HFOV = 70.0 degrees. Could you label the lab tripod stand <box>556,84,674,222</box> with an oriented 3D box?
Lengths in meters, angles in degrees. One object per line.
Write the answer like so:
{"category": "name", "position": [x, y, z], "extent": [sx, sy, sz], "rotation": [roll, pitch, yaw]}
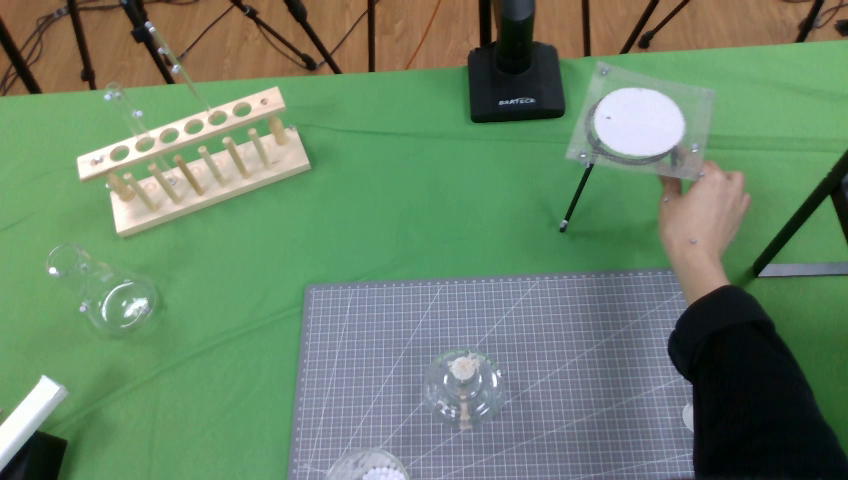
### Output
{"category": "lab tripod stand", "position": [0.209, -0.090, 0.651], "extent": [0.148, 0.132, 0.147], "rotation": [-1, 61, 3]}

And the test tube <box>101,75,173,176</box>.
{"category": "test tube", "position": [-0.322, -0.124, 0.688], "extent": [0.017, 0.151, 0.017], "rotation": [-2, 56, 3]}

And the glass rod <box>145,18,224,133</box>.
{"category": "glass rod", "position": [-0.257, -0.164, 0.683], "extent": [0.008, 0.202, 0.008], "rotation": [-6, 56, 9]}

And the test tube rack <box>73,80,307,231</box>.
{"category": "test tube rack", "position": [-0.274, -0.100, 0.727], "extent": [0.242, 0.086, 0.066], "rotation": [-22, 62, -6]}

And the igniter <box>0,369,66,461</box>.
{"category": "igniter", "position": [-0.437, 0.240, 0.545], "extent": [0.057, 0.025, 0.275], "rotation": [23, 66, 26]}

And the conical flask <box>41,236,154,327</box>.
{"category": "conical flask", "position": [-0.348, 0.039, 0.641], "extent": [0.075, 0.123, 0.074], "rotation": [-2, 62, 5]}

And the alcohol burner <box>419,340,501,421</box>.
{"category": "alcohol burner", "position": [0.033, 0.126, 0.564], "extent": [0.078, 0.120, 0.077], "rotation": [-1, 61, 3]}

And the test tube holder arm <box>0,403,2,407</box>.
{"category": "test tube holder arm", "position": [-0.440, 0.190, 0.574], "extent": [0.010, 0.015, 0.087], "rotation": [41, 70, -9]}

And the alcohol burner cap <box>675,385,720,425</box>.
{"category": "alcohol burner cap", "position": [0.259, 0.153, 0.569], "extent": [0.034, 0.048, 0.033], "rotation": [-2, 62, 5]}

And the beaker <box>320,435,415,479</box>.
{"category": "beaker", "position": [-0.046, 0.222, 0.529], "extent": [0.073, 0.101, 0.083], "rotation": [25, 68, 18]}

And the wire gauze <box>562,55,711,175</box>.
{"category": "wire gauze", "position": [0.210, -0.124, 0.592], "extent": [0.121, 0.011, 0.124], "rotation": [17, 66, 12]}
